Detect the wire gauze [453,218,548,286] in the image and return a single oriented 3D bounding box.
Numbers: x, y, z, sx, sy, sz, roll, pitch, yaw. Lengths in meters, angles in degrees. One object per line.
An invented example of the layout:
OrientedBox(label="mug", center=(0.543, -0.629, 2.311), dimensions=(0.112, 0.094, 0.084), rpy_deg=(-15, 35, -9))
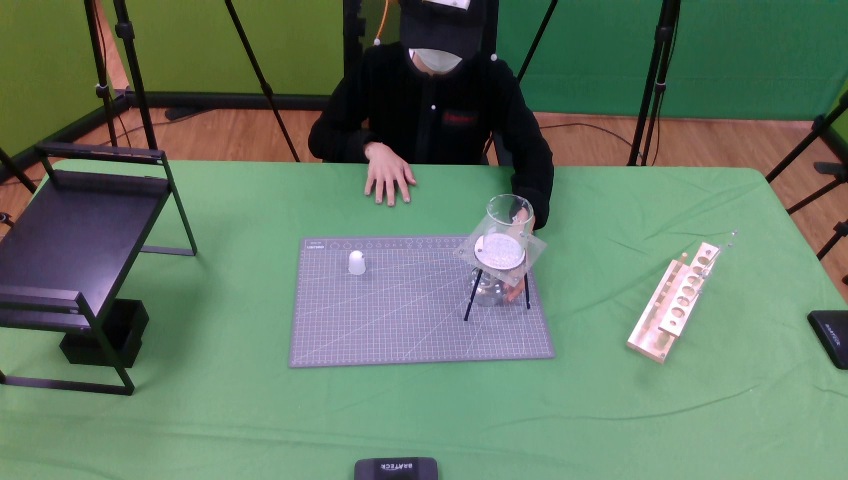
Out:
OrientedBox(label="wire gauze", center=(0.129, 0.014, 1.018), dimensions=(0.124, 0.011, 0.121), rpy_deg=(26, 47, 25))

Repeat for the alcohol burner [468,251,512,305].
OrientedBox(label="alcohol burner", center=(0.119, 0.061, 1.077), dimensions=(0.078, 0.120, 0.077), rpy_deg=(1, 47, -1))

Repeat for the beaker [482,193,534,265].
OrientedBox(label="beaker", center=(0.135, -0.016, 0.979), dimensions=(0.073, 0.101, 0.084), rpy_deg=(35, 52, 28))

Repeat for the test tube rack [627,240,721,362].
OrientedBox(label="test tube rack", center=(0.452, 0.098, 1.087), dimensions=(0.066, 0.085, 0.242), rpy_deg=(28, 51, 22))

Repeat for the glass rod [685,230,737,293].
OrientedBox(label="glass rod", center=(0.495, 0.042, 1.051), dimensions=(0.008, 0.200, 0.008), rpy_deg=(2, 55, -2))

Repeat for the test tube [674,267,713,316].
OrientedBox(label="test tube", center=(0.445, 0.098, 1.017), dimensions=(0.017, 0.151, 0.017), rpy_deg=(4, 49, -4))

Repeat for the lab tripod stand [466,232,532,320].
OrientedBox(label="lab tripod stand", center=(0.125, 0.059, 1.065), dimensions=(0.148, 0.132, 0.147), rpy_deg=(1, 45, 0))

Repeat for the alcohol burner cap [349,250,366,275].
OrientedBox(label="alcohol burner cap", center=(-0.126, 0.039, 1.132), dimensions=(0.034, 0.048, 0.033), rpy_deg=(2, 46, -2))
